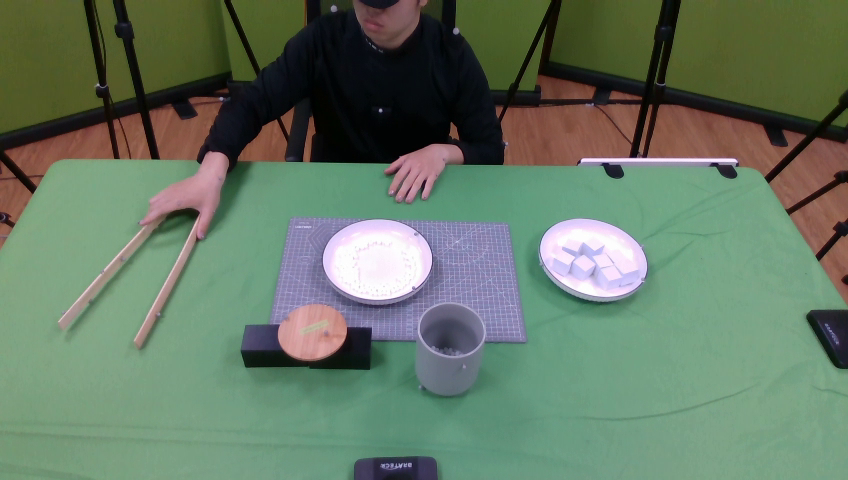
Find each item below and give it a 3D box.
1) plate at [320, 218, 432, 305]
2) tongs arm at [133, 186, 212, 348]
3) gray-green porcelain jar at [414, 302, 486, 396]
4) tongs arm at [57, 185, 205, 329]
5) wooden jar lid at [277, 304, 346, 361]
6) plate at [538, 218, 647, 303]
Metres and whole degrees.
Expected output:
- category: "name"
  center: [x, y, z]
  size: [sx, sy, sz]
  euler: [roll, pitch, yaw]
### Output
- category: "plate"
  center: [-0.089, 0.044, 1.134]
  size: [0.209, 0.038, 0.208]
  euler: [3, 46, -2]
- category: "tongs arm"
  center: [-0.458, 0.035, 1.124]
  size: [0.028, 0.028, 0.385]
  euler: [4, 46, 2]
- category: "gray-green porcelain jar"
  center: [0.038, 0.177, 0.958]
  size: [0.106, 0.127, 0.105]
  euler: [2, 46, -2]
- category: "tongs arm"
  center: [-0.530, 0.019, 1.129]
  size: [0.051, 0.026, 0.383]
  euler: [14, 46, 8]
- category: "wooden jar lid"
  center: [-0.179, 0.150, 0.972]
  size: [0.108, 0.021, 0.107]
  euler: [2, 45, -2]
- category: "plate"
  center: [0.322, 0.042, 1.171]
  size: [0.208, 0.039, 0.206]
  euler: [2, 46, -2]
